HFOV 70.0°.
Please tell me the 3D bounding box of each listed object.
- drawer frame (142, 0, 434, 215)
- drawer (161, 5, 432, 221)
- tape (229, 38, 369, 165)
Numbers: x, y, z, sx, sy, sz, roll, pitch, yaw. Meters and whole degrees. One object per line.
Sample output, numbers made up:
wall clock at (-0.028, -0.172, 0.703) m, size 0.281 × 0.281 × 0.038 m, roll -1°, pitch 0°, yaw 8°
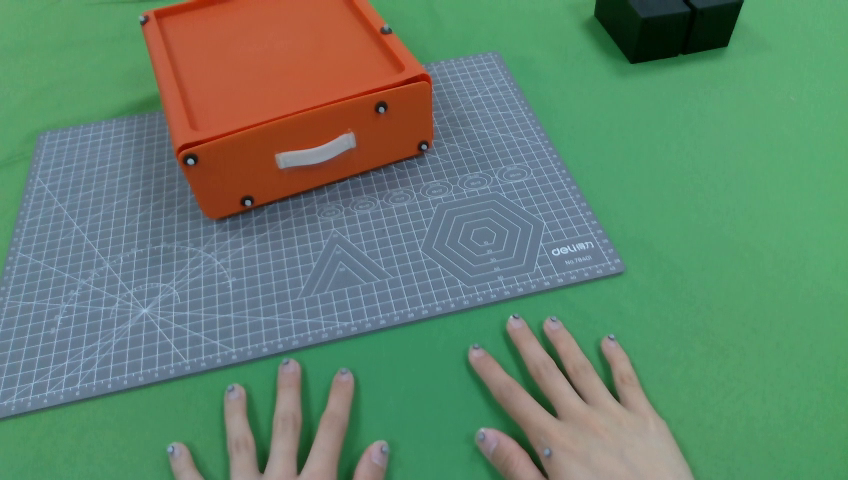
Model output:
drawer frame at (-0.125, -0.139, 0.538) m, size 0.202 × 0.083 × 0.211 m, roll -21°, pitch 50°, yaw -14°
drawer at (-0.122, -0.133, 0.535) m, size 0.195 × 0.074 × 0.209 m, roll -20°, pitch 50°, yaw -13°
tape at (-0.109, -0.123, 0.530) m, size 0.117 × 0.053 × 0.115 m, roll -1°, pitch 51°, yaw 2°
